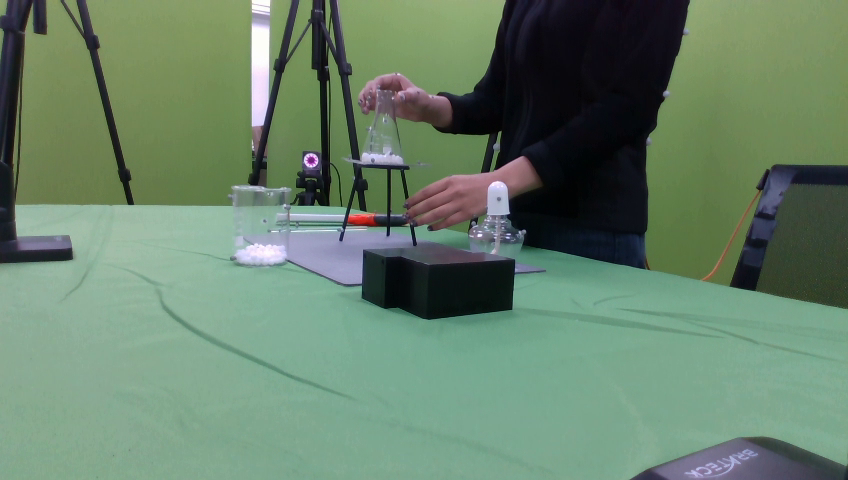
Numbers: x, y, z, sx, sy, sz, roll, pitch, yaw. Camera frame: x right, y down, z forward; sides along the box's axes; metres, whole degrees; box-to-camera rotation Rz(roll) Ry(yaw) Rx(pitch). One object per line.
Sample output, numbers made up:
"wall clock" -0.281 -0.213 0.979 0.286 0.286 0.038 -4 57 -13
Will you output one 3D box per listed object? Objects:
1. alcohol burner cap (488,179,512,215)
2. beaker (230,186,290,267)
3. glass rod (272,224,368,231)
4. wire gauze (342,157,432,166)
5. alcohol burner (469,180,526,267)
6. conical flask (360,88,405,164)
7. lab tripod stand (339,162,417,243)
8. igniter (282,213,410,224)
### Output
"alcohol burner cap" 0.101 -0.058 0.816 0.034 0.048 0.034 -5 8 1
"beaker" -0.209 -0.019 0.778 0.074 0.100 0.084 3 6 4
"glass rod" -0.197 -0.024 1.170 0.201 0.008 0.008 -3 9 -34
"wire gauze" -0.065 -0.130 1.016 0.122 0.011 0.124 1 6 -27
"alcohol burner" 0.101 -0.022 0.822 0.078 0.119 0.078 4 8 0
"conical flask" -0.067 -0.189 1.010 0.075 0.122 0.075 4 6 0
"lab tripod stand" -0.067 -0.065 1.027 0.148 0.131 0.148 4 7 0
"igniter" -0.159 -0.046 1.287 0.278 0.025 0.057 0 -3 -21
